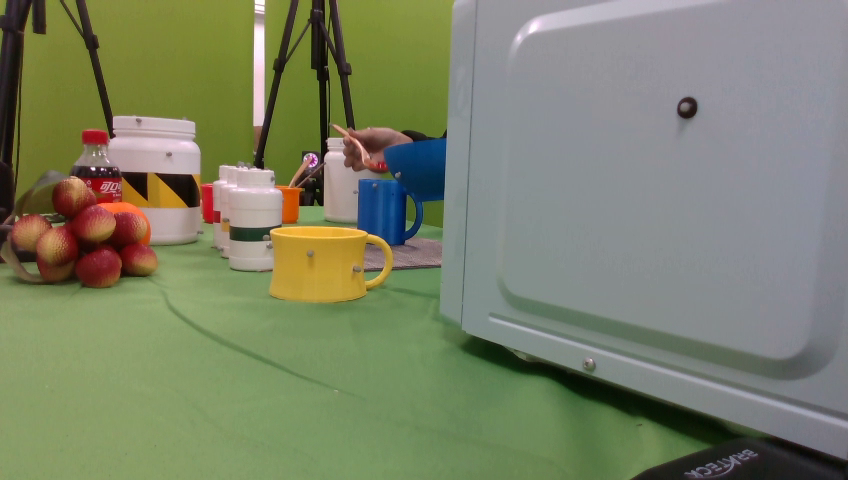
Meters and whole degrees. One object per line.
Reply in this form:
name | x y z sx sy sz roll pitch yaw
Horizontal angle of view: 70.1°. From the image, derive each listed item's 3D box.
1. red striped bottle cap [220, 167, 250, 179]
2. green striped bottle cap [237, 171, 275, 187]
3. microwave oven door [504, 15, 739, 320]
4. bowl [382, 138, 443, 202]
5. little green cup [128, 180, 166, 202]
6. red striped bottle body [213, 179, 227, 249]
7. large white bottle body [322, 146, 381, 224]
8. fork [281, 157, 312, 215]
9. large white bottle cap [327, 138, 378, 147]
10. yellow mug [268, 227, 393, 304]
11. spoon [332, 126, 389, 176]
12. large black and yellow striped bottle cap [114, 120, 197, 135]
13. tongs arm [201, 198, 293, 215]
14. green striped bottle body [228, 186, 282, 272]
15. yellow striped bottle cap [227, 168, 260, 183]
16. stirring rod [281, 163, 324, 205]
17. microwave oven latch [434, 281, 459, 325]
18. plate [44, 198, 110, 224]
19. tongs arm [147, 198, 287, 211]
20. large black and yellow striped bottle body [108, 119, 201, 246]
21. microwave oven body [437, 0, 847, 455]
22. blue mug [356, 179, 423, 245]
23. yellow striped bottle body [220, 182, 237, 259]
red striped bottle cap | -0.281 -0.100 0.901 0.044 0.017 0.044 -1 5 0
green striped bottle cap | -0.206 -0.074 0.738 0.044 0.020 0.044 1 9 0
microwave oven door | 0.218 -0.065 0.600 0.358 0.243 0.039 -4 10 -41
bowl | 0.020 -0.094 0.836 0.151 0.077 0.151 -5 3 1
little green cup | -0.485 -0.087 1.062 0.061 0.038 0.061 -1 6 0
red striped bottle body | -0.284 -0.048 0.909 0.063 0.119 0.063 3 10 0
large white bottle body | -0.163 -0.134 1.369 0.131 0.184 0.130 2 7 0
fork | -0.289 -0.116 1.321 0.028 0.019 0.207 5 51 20
large white bottle cap | -0.160 -0.218 1.357 0.115 0.018 0.115 1 8 0
yellow mug | -0.094 0.023 0.629 0.131 0.064 0.099 0 7 -22
spoon | -0.114 -0.157 1.041 0.042 0.021 0.193 4 32 -38
large black and yellow striped bottle cap | -0.407 -0.171 0.920 0.115 0.019 0.115 2 9 0
tongs arm | -0.423 -0.084 1.473 0.050 0.026 0.386 2 6 21
green striped bottle body | -0.208 -0.023 0.745 0.063 0.119 0.063 2 7 0
yellow striped bottle cap | -0.243 -0.087 0.818 0.044 0.018 0.044 4 6 0
stirring rod | -0.278 -0.105 1.293 0.176 0.006 0.014 -47 24 -18
microwave oven latch | 0.044 0.045 0.470 0.079 0.029 0.030 -2 8 -39
plate | -0.617 -0.056 1.179 0.209 0.038 0.209 3 7 0
tongs arm | -0.504 -0.091 1.513 0.028 0.028 0.389 -1 4 37
large black and yellow striped bottle body | -0.412 -0.088 0.930 0.131 0.184 0.130 3 7 0
microwave oven body | 0.279 -0.040 0.464 0.444 0.260 0.324 -3 9 -41
blue mug | -0.056 -0.046 1.005 0.116 0.106 0.082 5 8 21
yellow striped bottle body | -0.246 -0.036 0.825 0.063 0.120 0.063 3 8 0
